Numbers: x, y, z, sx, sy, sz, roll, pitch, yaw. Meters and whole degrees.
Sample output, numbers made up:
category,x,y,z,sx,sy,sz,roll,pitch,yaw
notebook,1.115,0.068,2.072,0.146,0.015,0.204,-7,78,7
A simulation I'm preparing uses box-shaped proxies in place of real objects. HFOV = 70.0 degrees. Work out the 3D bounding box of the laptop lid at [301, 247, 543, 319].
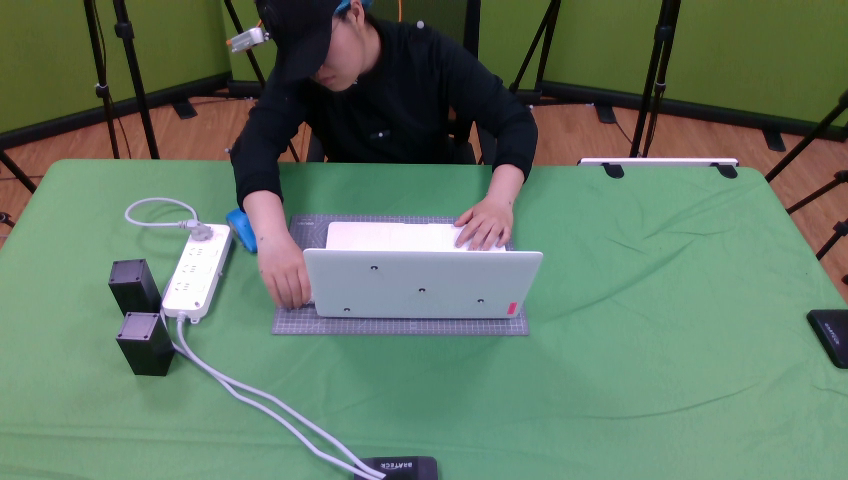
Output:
category,x,y,z,sx,sy,sz,roll,pitch,yaw
laptop lid,-0.006,0.075,0.963,0.357,0.242,0.013,2,58,-5

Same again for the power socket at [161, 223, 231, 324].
category,x,y,z,sx,sy,sz,roll,pitch,yaw
power socket,-0.412,0.052,1.106,0.072,0.033,0.225,4,46,-2

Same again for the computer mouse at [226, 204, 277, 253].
category,x,y,z,sx,sy,sz,roll,pitch,yaw
computer mouse,-0.339,-0.027,1.186,0.063,0.041,0.116,-24,58,-28

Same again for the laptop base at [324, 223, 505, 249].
category,x,y,z,sx,sy,sz,roll,pitch,yaw
laptop base,-0.015,0.054,1.146,0.354,0.023,0.234,1,43,-3

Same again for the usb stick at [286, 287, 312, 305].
category,x,y,z,sx,sy,sz,roll,pitch,yaw
usb stick,-0.213,0.099,1.070,0.059,0.027,0.021,1,44,-9

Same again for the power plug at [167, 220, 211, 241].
category,x,y,z,sx,sy,sz,roll,pitch,yaw
power plug,-0.439,-0.017,1.143,0.072,0.053,0.035,10,43,5
